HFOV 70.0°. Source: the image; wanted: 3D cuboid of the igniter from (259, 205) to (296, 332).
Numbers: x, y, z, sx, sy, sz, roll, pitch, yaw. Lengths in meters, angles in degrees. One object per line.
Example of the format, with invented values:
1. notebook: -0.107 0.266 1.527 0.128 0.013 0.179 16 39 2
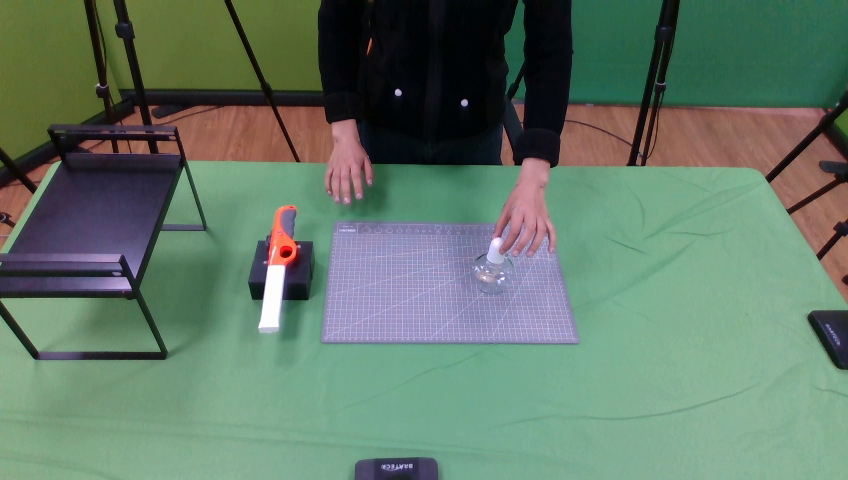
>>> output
1. igniter: -0.258 0.040 1.071 0.057 0.025 0.274 0 50 -5

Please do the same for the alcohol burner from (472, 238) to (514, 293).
1. alcohol burner: 0.128 0.041 1.101 0.078 0.120 0.077 1 47 -1

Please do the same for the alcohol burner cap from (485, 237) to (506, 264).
1. alcohol burner cap: 0.129 0.015 1.075 0.034 0.048 0.033 6 39 -5
